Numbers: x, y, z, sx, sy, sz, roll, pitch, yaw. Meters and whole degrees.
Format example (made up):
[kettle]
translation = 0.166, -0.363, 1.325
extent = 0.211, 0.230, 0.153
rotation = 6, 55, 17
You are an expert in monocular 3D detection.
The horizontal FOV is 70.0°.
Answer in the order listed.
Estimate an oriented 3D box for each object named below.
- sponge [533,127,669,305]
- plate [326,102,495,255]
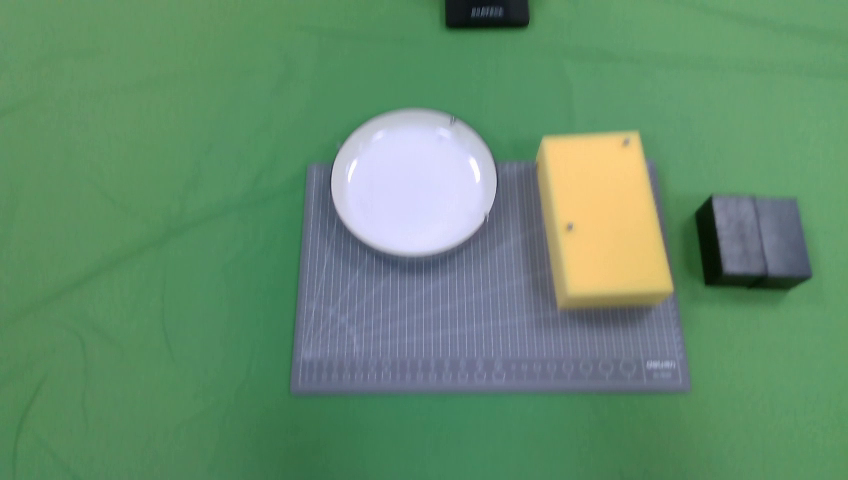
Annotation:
[sponge]
translation = 0.206, -0.030, 0.725
extent = 0.118, 0.061, 0.205
rotation = -4, 69, -1
[plate]
translation = -0.016, -0.075, 0.755
extent = 0.209, 0.038, 0.207
rotation = 0, 69, 0
